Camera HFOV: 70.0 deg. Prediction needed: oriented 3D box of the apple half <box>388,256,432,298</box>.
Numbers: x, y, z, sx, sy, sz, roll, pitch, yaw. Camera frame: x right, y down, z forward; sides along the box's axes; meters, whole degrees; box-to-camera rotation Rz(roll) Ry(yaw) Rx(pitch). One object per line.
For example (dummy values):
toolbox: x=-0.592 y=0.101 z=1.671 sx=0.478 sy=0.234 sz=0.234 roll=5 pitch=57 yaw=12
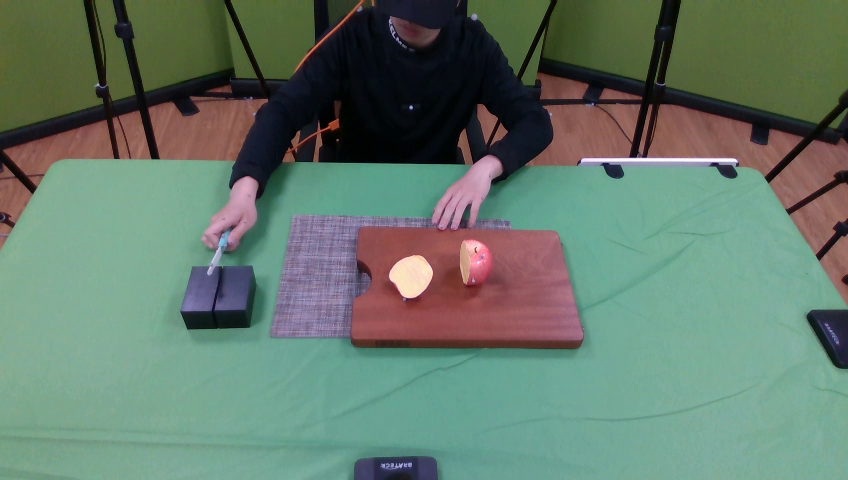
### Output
apple half: x=-0.020 y=0.069 z=1.080 sx=0.081 sy=0.033 sz=0.081 roll=-6 pitch=62 yaw=12

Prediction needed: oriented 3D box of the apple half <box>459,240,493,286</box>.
apple half: x=0.096 y=0.042 z=1.093 sx=0.053 sy=0.075 sz=0.080 roll=-1 pitch=42 yaw=-11

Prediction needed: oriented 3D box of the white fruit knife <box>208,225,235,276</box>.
white fruit knife: x=-0.366 y=0.016 z=1.096 sx=0.016 sy=0.027 sz=0.206 roll=1 pitch=23 yaw=-7
